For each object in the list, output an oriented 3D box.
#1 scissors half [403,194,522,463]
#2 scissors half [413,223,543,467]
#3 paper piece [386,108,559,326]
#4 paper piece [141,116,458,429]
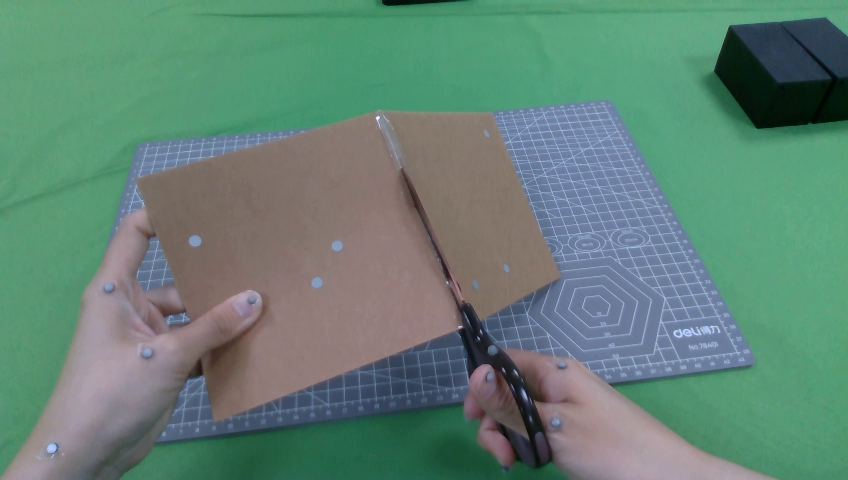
[{"bbox_3d":[0.019,0.043,0.343,0.013,0.040,0.174,-24,85,-9],"label":"scissors half"},{"bbox_3d":[0.018,0.036,0.323,0.013,0.040,0.173,-25,63,-4],"label":"scissors half"},{"bbox_3d":[0.038,-0.022,0.398,0.008,0.136,0.138,-19,-2,35],"label":"paper piece"},{"bbox_3d":[-0.063,0.011,0.327,0.136,0.004,0.135,-19,85,-16],"label":"paper piece"}]
